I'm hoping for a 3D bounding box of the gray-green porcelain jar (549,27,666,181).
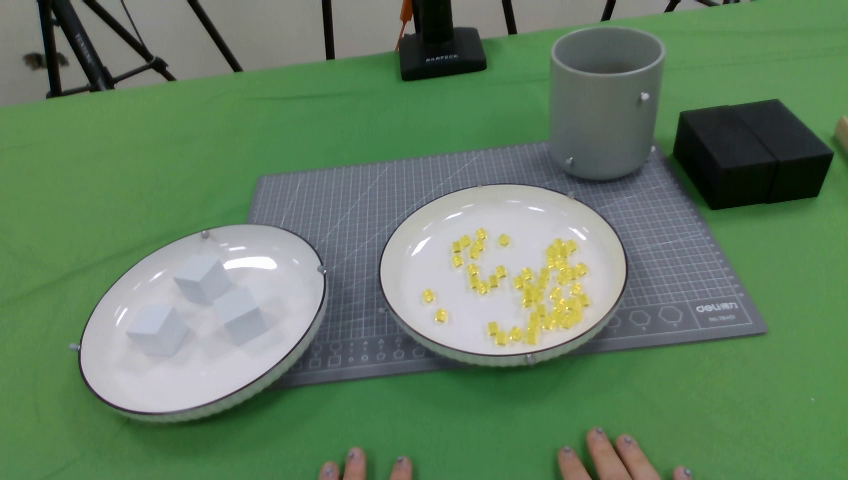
[{"bbox_3d":[0.180,-0.132,0.610,0.106,0.128,0.105,-5,42,5],"label":"gray-green porcelain jar"}]

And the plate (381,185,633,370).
[{"bbox_3d":[0.069,0.029,0.520,0.207,0.039,0.205,-5,42,5],"label":"plate"}]

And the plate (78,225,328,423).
[{"bbox_3d":[-0.181,0.069,0.520,0.209,0.038,0.207,-6,42,6],"label":"plate"}]

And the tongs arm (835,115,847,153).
[{"bbox_3d":[0.426,0.010,0.493,0.028,0.028,0.384,-1,43,5],"label":"tongs arm"}]
